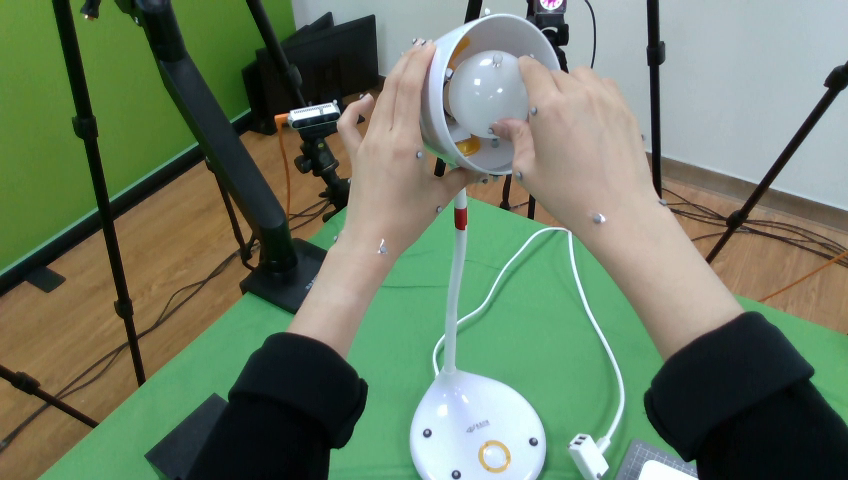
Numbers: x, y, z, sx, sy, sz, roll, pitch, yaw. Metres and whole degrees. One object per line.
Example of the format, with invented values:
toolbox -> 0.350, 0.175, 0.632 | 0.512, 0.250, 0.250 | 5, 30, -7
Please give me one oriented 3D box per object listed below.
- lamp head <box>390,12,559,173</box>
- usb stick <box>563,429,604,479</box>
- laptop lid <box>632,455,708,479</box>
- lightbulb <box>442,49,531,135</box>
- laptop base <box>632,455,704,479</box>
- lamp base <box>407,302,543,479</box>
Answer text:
lamp head -> 0.028, -0.109, 0.479 | 0.112, 0.113, 0.122 | -28, 18, -25
usb stick -> 0.182, 0.244, 0.680 | 0.027, 0.059, 0.021 | -32, 8, -33
laptop lid -> 0.340, 0.366, 0.548 | 0.354, 0.013, 0.241 | 21, 50, 23
lightbulb -> 0.038, -0.110, 0.452 | 0.059, 0.060, 0.107 | -18, 18, -17
laptop base -> 0.342, 0.373, 0.558 | 0.352, 0.023, 0.234 | 20, 51, 22
lamp base -> 0.050, 0.165, 0.671 | 0.161, 0.182, 0.177 | -27, 45, -24
